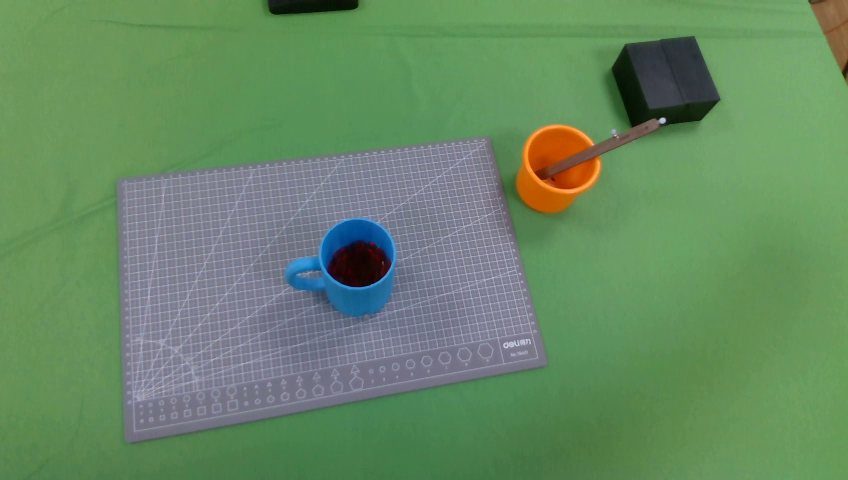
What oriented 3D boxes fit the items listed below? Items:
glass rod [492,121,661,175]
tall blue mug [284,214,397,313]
[{"bbox_3d":[0.172,-0.105,0.704,0.199,0.008,0.008,-15,67,25],"label":"glass rod"},{"bbox_3d":[-0.083,0.035,0.637,0.107,0.108,0.077,-31,76,-16],"label":"tall blue mug"}]
